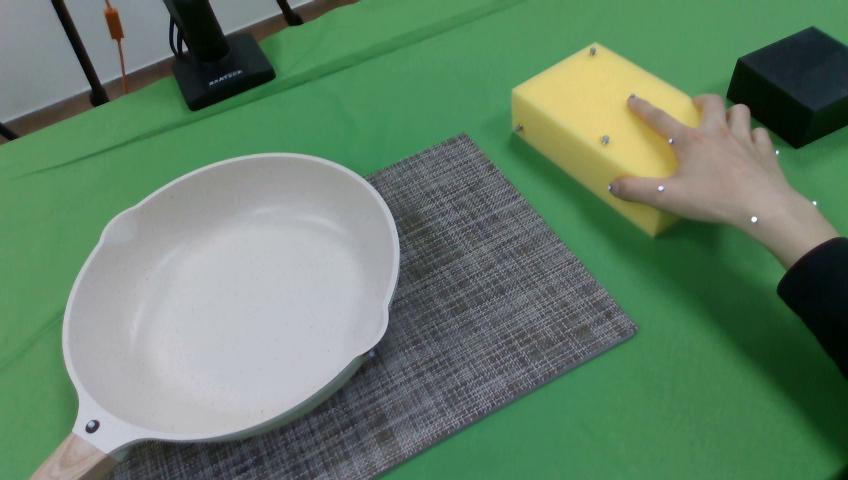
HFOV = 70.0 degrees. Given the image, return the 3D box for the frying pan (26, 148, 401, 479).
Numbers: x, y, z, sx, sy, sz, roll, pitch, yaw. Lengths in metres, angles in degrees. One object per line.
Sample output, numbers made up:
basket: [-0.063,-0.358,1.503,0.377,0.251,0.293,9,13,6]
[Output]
frying pan: [-0.212,0.108,0.482,0.305,0.104,0.486,20,50,24]

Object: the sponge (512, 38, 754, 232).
sponge: [0.200,-0.114,0.614,0.118,0.061,0.204,-32,54,-16]
